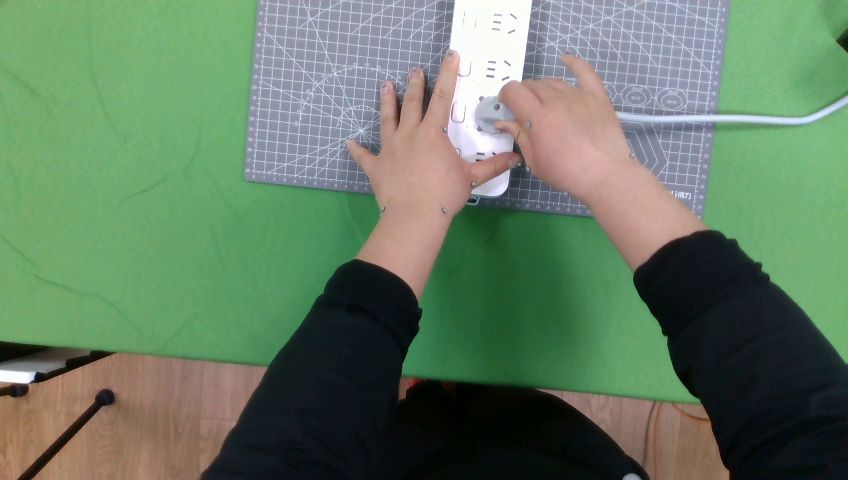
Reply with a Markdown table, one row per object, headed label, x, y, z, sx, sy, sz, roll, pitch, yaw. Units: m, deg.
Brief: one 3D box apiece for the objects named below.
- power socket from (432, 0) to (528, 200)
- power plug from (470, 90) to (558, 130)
| label | x | y | z | sx | sy | sz | roll | pitch | yaw |
| --- | --- | --- | --- | --- | --- | --- | --- | --- | --- |
| power socket | 0.053 | -0.151 | 0.570 | 0.072 | 0.032 | 0.227 | 6 | 94 | -1 |
| power plug | 0.078 | -0.112 | 0.554 | 0.073 | 0.052 | 0.035 | 21 | 90 | -4 |
